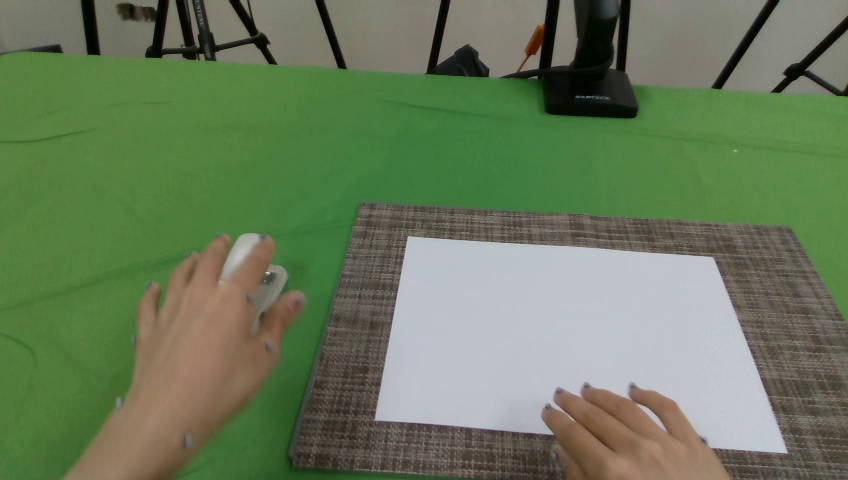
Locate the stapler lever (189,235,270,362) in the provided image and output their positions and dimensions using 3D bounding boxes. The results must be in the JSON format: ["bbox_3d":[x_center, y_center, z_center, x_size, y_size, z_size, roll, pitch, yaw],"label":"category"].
[{"bbox_3d":[-0.158,0.043,0.497,0.027,0.040,0.117,5,43,9],"label":"stapler lever"}]

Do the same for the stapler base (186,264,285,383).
[{"bbox_3d":[-0.158,0.061,0.515,0.041,0.024,0.129,5,43,8],"label":"stapler base"}]
